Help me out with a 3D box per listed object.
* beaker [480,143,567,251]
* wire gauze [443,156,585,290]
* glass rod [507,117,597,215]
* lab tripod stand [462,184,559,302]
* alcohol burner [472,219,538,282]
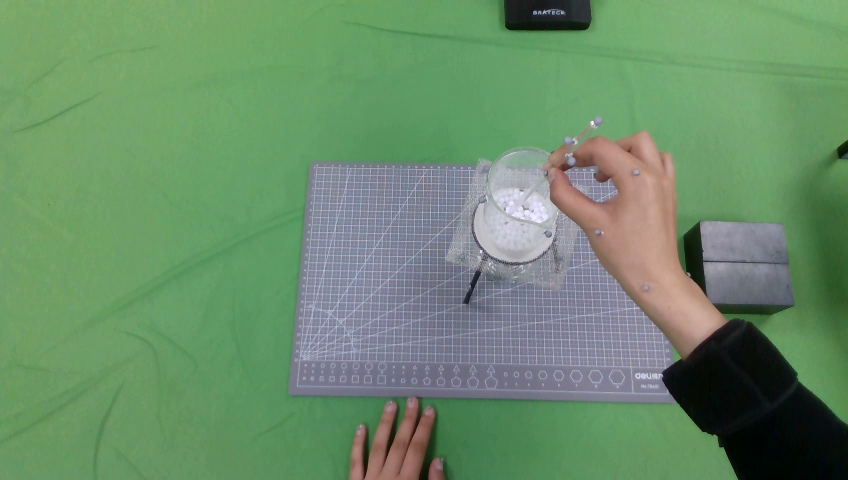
[{"bbox_3d":[0.092,-0.033,0.582,0.074,0.101,0.083,-26,73,-7],"label":"beaker"},{"bbox_3d":[0.096,-0.019,0.628,0.121,0.011,0.124,18,71,5],"label":"wire gauze"},{"bbox_3d":[0.098,-0.054,0.500,0.008,0.200,0.008,3,74,-9],"label":"glass rod"},{"bbox_3d":[0.091,0.000,0.691,0.148,0.132,0.147,-1,72,2],"label":"lab tripod stand"},{"bbox_3d":[0.095,0.007,0.699,0.078,0.120,0.077,-1,73,2],"label":"alcohol burner"}]
